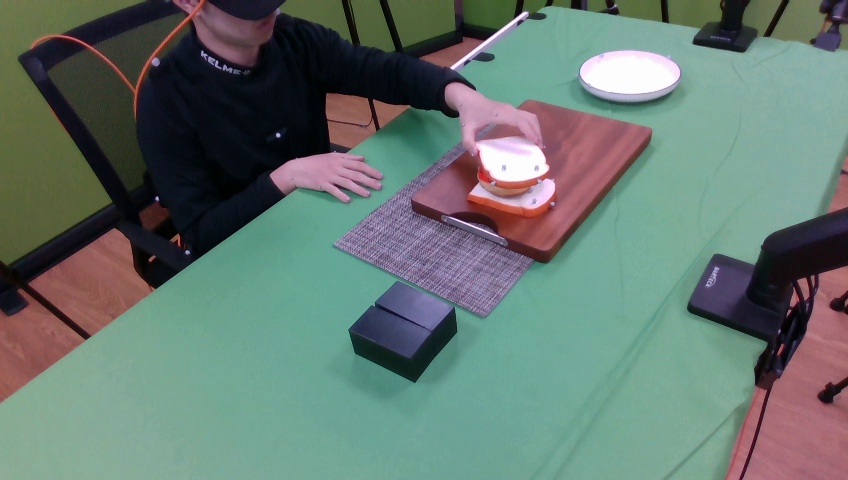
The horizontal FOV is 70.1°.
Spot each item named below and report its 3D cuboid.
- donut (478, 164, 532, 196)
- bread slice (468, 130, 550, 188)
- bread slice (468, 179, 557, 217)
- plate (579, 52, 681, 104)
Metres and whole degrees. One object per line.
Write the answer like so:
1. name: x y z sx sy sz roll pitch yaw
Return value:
1. donut: 0.137 -0.109 0.990 0.099 0.048 0.098 -4 38 4
2. bread slice: 0.141 -0.128 0.958 0.107 0.018 0.133 -13 42 -8
3. bread slice: 0.154 -0.082 1.004 0.130 0.019 0.105 18 47 29
4. plate: 0.437 -0.343 1.294 0.209 0.038 0.208 -4 40 4
